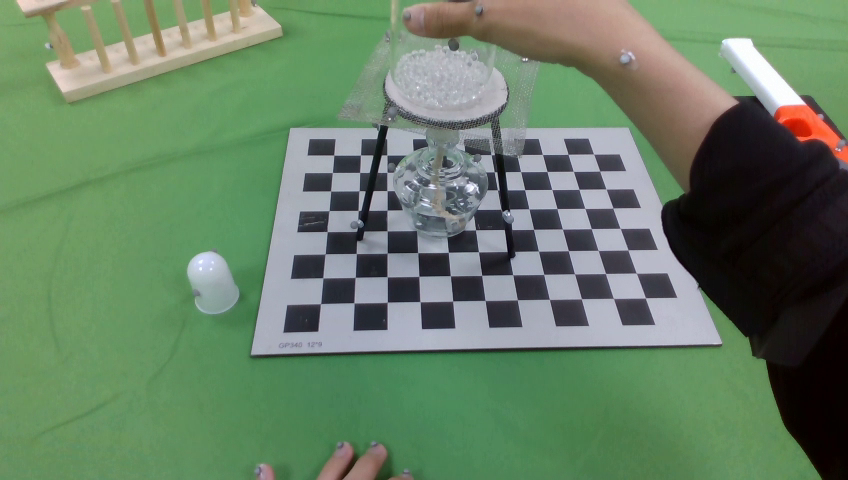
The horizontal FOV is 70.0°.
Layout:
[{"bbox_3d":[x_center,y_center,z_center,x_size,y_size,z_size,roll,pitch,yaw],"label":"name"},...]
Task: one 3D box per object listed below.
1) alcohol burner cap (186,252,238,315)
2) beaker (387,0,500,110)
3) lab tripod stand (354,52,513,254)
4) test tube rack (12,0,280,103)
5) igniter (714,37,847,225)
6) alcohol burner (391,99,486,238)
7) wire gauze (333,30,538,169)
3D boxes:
[{"bbox_3d":[-0.158,0.029,0.446,0.034,0.048,0.033,2,48,-2],"label":"alcohol burner cap"},{"bbox_3d":[0.011,-0.140,0.385,0.074,0.101,0.083,6,48,2],"label":"beaker"},{"bbox_3d":[0.015,-0.064,0.472,0.148,0.132,0.147,3,47,-3],"label":"lab tripod stand"},{"bbox_3d":[-0.284,-0.237,0.651,0.242,0.086,0.066,-28,55,-25],"label":"test tube rack"},{"bbox_3d":[0.328,-0.108,0.542,0.057,0.025,0.273,-3,46,-1],"label":"igniter"},{"bbox_3d":[0.012,-0.059,0.480,0.078,0.120,0.077,0,48,0],"label":"alcohol burner"},{"bbox_3d":[0.014,-0.107,0.422,0.125,0.011,0.120,15,50,5],"label":"wire gauze"}]
